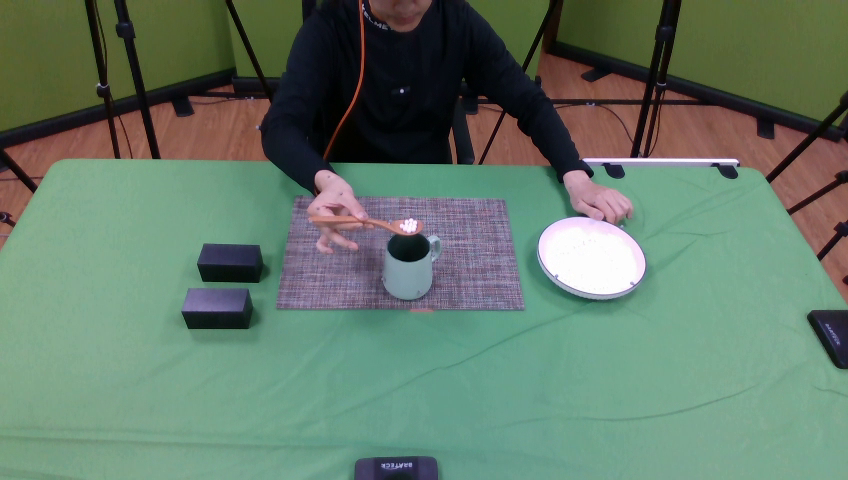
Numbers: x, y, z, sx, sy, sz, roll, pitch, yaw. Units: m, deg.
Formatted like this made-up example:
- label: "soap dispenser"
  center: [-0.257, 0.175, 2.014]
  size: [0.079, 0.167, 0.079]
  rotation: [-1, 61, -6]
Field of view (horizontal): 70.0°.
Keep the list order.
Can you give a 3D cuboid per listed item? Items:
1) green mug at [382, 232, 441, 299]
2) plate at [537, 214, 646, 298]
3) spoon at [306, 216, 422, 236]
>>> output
- label: "green mug"
  center: [-0.017, 0.037, 1.097]
  size: [0.125, 0.105, 0.092]
  rotation: [-34, 57, -31]
- label: "plate"
  center: [0.321, 0.035, 1.176]
  size: [0.209, 0.038, 0.208]
  rotation: [2, 47, -2]
- label: "spoon"
  center: [-0.094, -0.029, 0.988]
  size: [0.194, 0.022, 0.041]
  rotation: [7, 38, -24]
